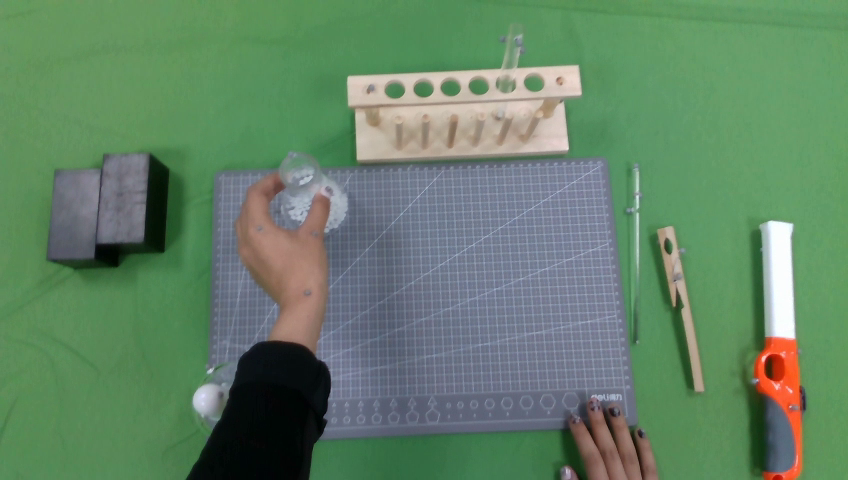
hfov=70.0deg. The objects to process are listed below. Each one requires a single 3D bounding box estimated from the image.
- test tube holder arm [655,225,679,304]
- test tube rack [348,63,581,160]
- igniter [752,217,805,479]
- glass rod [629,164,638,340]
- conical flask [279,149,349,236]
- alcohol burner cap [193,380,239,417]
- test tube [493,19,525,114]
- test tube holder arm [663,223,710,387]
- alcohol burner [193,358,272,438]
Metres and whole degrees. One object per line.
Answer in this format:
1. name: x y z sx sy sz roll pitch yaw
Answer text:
1. test tube holder arm: 0.271 0.026 0.668 0.010 0.015 0.087 -17 76 34
2. test tube rack: 0.043 -0.139 0.667 0.242 0.085 0.066 -3 78 -1
3. igniter: 0.376 0.111 0.645 0.057 0.025 0.275 7 78 -9
4. glass rod: 0.233 0.011 0.675 0.008 0.008 0.199 4 80 0
5. conical flask: -0.119 -0.053 0.624 0.075 0.122 0.075 1 76 -2
6. alcohol burner cap: -0.191 0.142 0.550 0.034 0.048 0.033 0 69 1
7. test tube: 0.086 -0.173 0.623 0.017 0.151 0.017 0 72 1
8. test tube holder arm: 0.283 0.068 0.656 0.013 0.015 0.177 -18 75 33
9. alcohol burner: -0.190 0.152 0.585 0.078 0.119 0.077 0 76 2
